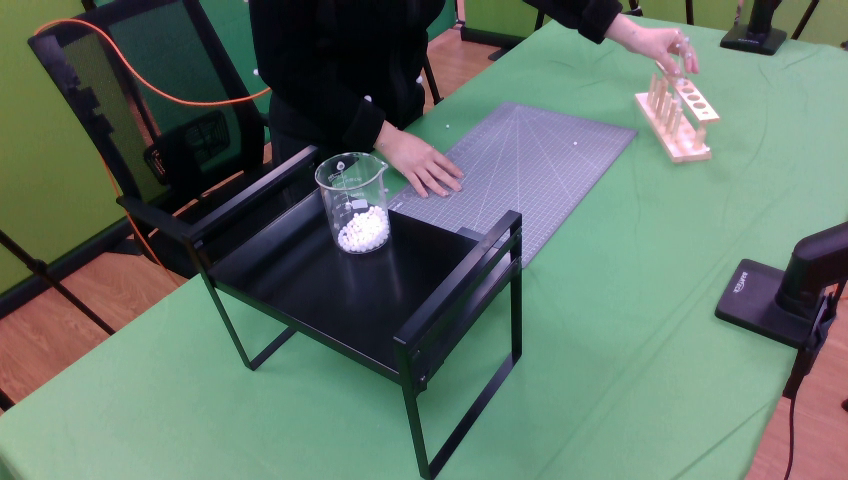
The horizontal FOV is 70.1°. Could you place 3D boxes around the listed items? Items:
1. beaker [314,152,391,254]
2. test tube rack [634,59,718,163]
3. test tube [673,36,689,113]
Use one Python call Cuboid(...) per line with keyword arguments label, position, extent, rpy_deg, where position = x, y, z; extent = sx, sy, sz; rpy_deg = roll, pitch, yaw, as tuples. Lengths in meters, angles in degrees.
Cuboid(label="beaker", position=(-0.076, -0.041, 0.697), extent=(0.084, 0.101, 0.073), rpy_deg=(-15, 41, -10))
Cuboid(label="test tube rack", position=(0.471, -0.250, 1.148), extent=(0.067, 0.085, 0.241), rpy_deg=(-6, 40, 3))
Cuboid(label="test tube", position=(0.476, -0.305, 1.124), extent=(0.017, 0.151, 0.017), rpy_deg=(-7, 39, 6))
